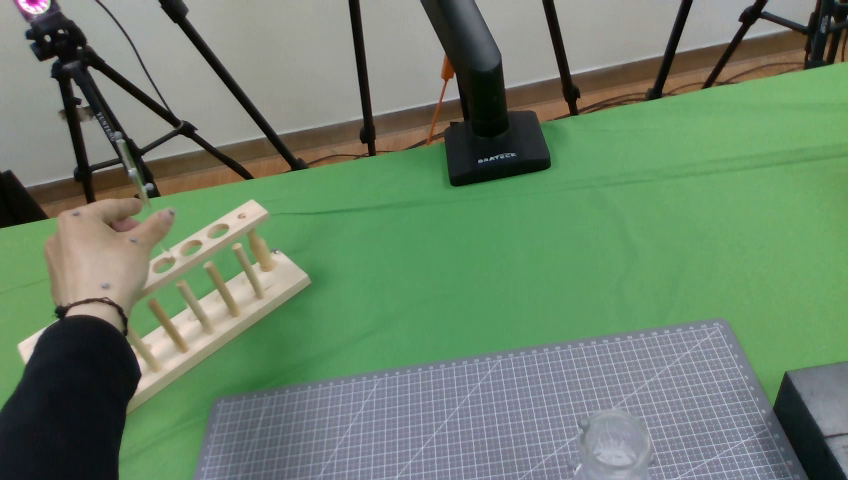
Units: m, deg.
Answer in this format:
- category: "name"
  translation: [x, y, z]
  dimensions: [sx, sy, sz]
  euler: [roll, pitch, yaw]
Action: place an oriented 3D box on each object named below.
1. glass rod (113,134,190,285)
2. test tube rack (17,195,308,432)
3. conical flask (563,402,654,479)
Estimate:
- category: "glass rod"
  translation: [-0.244, -0.007, 0.562]
  dimensions: [0.008, 0.201, 0.008]
  euler: [-6, 35, 5]
- category: "test tube rack"
  translation: [-0.240, 0.064, 0.585]
  dimensions: [0.242, 0.086, 0.066]
  euler: [-37, 47, -22]
- category: "conical flask"
  translation: [0.112, 0.145, 0.364]
  dimensions: [0.075, 0.123, 0.074]
  euler: [-8, 43, 8]
